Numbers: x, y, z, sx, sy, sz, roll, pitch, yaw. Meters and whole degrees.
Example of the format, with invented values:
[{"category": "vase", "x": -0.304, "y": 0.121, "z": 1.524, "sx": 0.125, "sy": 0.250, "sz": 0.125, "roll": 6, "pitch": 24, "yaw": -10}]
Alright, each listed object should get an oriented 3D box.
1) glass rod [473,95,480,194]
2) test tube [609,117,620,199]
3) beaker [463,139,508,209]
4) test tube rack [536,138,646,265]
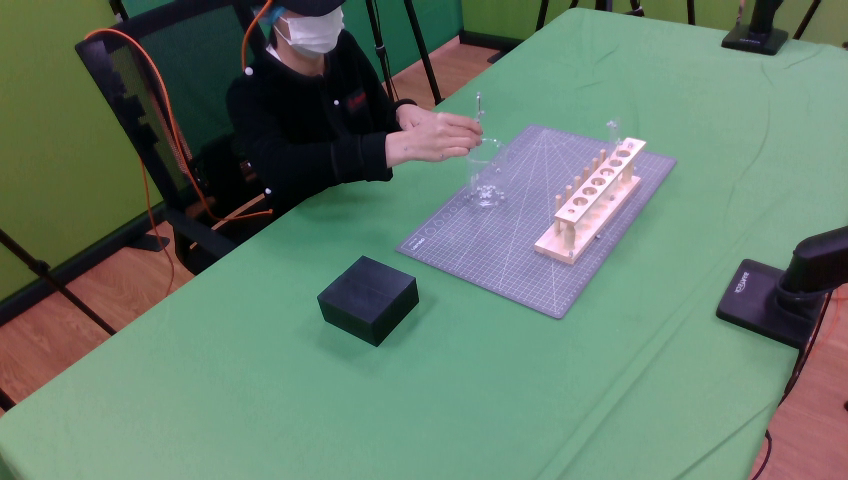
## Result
[{"category": "glass rod", "x": 0.086, "y": -0.149, "z": 0.979, "sx": 0.008, "sy": 0.200, "sz": 0.008, "roll": -1, "pitch": 48, "yaw": 2}, {"category": "test tube", "x": 0.298, "y": -0.125, "z": 0.946, "sx": 0.017, "sy": 0.151, "sz": 0.017, "roll": -8, "pitch": 42, "yaw": 8}, {"category": "beaker", "x": 0.108, "y": -0.111, "z": 1.027, "sx": 0.073, "sy": 0.100, "sz": 0.084, "roll": 25, "pitch": 49, "yaw": 33}, {"category": "test tube rack", "x": 0.268, "y": -0.071, "z": 0.964, "sx": 0.066, "sy": 0.085, "sz": 0.243, "roll": 23, "pitch": 49, "yaw": 32}]
